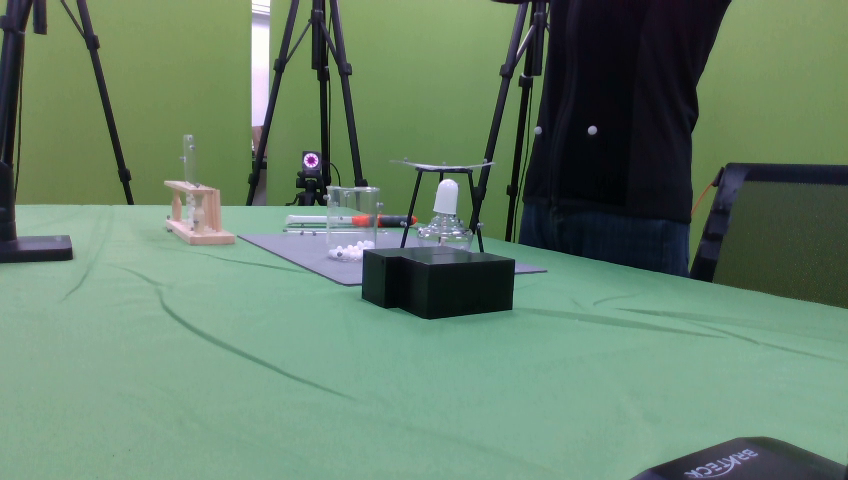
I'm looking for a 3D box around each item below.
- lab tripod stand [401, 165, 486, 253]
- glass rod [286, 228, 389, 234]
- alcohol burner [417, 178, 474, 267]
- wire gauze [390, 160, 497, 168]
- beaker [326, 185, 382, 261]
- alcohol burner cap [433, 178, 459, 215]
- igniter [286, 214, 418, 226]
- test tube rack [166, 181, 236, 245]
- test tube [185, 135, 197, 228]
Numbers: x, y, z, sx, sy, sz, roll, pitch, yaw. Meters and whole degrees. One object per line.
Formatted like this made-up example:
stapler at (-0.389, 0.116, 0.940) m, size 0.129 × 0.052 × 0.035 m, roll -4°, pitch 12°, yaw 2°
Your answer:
lab tripod stand at (0.027, -0.049, 0.930) m, size 0.148 × 0.131 × 0.148 m, roll 2°, pitch 9°, yaw 0°
glass rod at (-0.153, -0.016, 1.101) m, size 0.201 × 0.008 × 0.008 m, roll 1°, pitch 6°, yaw -31°
alcohol burner at (0.029, -0.024, 0.810) m, size 0.078 × 0.119 × 0.078 m, roll 1°, pitch 9°, yaw 0°
wire gauze at (0.028, -0.115, 0.919) m, size 0.122 × 0.011 × 0.124 m, roll -4°, pitch 10°, yaw -34°
beaker at (-0.100, -0.025, 0.835) m, size 0.074 × 0.100 × 0.083 m, roll 0°, pitch 7°, yaw -23°
alcohol burner cap at (0.031, -0.060, 0.806) m, size 0.034 × 0.048 × 0.034 m, roll 9°, pitch 10°, yaw -1°
igniter at (-0.146, -0.043, 1.263) m, size 0.278 × 0.025 × 0.057 m, roll -1°, pitch -2°, yaw -24°
test tube rack at (-0.383, -0.051, 1.024) m, size 0.067 × 0.085 × 0.241 m, roll -2°, pitch 9°, yaw -31°
test tube at (-0.376, -0.094, 0.977) m, size 0.017 × 0.150 × 0.017 m, roll -1°, pitch 3°, yaw 0°
